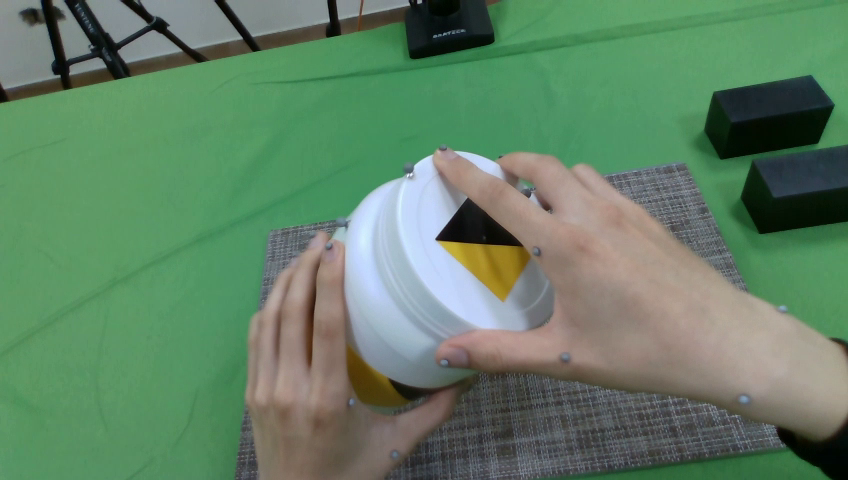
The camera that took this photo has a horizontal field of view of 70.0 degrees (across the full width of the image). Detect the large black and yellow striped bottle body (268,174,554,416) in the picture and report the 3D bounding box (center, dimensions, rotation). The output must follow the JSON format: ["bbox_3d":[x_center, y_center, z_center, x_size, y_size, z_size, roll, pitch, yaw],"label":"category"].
[{"bbox_3d":[-0.014,0.036,0.407,0.132,0.184,0.129,17,57,-27],"label":"large black and yellow striped bottle body"}]

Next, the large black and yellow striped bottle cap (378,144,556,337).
[{"bbox_3d":[0.028,-0.001,0.346,0.116,0.019,0.114,14,63,-29],"label":"large black and yellow striped bottle cap"}]
